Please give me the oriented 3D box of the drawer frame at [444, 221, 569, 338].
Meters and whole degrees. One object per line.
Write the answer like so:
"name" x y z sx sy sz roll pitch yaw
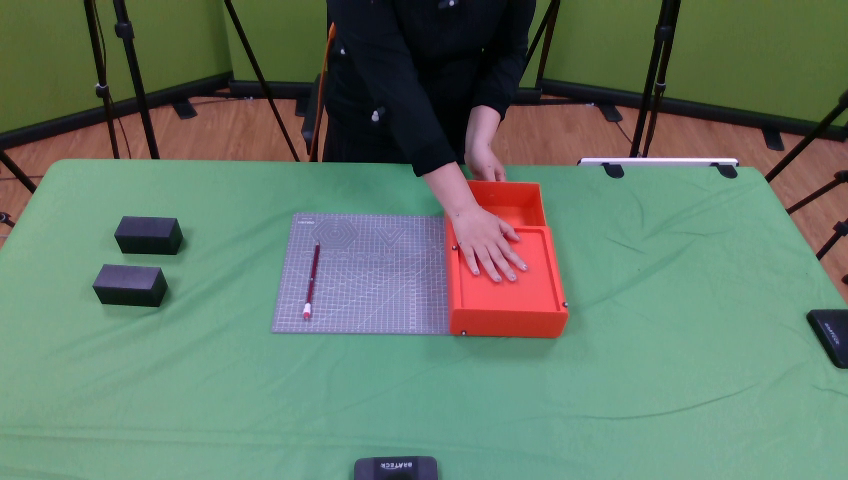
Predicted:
"drawer frame" 0.141 0.068 1.098 0.202 0.083 0.212 2 46 -4

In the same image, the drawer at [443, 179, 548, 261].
"drawer" 0.138 -0.022 1.182 0.195 0.073 0.210 3 47 -4

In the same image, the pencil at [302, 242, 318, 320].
"pencil" -0.209 0.070 1.119 0.012 0.012 0.193 2 44 -3
